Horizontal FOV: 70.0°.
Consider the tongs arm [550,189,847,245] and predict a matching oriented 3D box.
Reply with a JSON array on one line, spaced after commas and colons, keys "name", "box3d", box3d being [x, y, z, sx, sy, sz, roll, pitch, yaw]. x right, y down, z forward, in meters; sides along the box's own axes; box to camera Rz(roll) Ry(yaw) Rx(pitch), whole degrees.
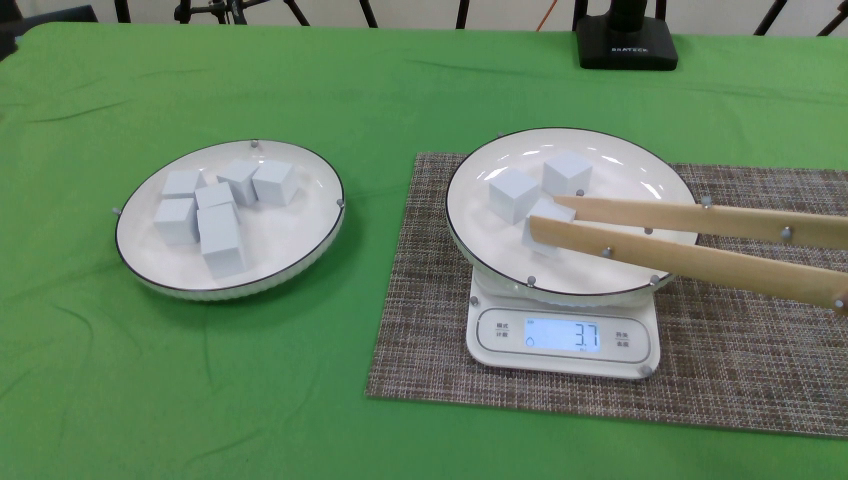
[{"name": "tongs arm", "box3d": [0.242, 0.003, 0.362, 0.382, 0.027, 0.050, 8, 41, 38]}]

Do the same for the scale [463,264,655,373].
[{"name": "scale", "box3d": [0.114, 0.018, 0.522, 0.148, 0.032, 0.199, 4, 47, 7]}]

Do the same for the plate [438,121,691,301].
[{"name": "plate", "box3d": [0.116, -0.026, 0.518, 0.208, 0.039, 0.205, 0, 47, 1]}]

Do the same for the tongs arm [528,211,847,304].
[{"name": "tongs arm", "box3d": [0.227, 0.017, 0.349, 0.384, 0.028, 0.028, 12, 39, 41]}]

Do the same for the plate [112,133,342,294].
[{"name": "plate", "box3d": [-0.180, -0.025, 0.576, 0.209, 0.038, 0.207, -1, 46, 1]}]
